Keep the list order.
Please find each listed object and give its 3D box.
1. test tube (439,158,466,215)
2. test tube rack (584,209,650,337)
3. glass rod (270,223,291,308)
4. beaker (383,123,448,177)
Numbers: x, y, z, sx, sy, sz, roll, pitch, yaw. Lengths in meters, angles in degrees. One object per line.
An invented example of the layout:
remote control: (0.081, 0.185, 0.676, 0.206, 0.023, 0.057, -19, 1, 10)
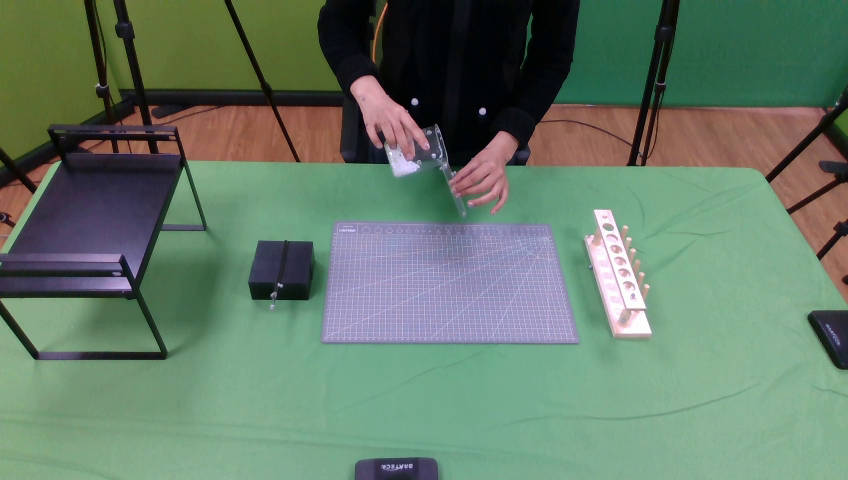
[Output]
test tube: (0.056, -0.098, 1.151, 0.017, 0.151, 0.017, -11, 49, 13)
test tube rack: (0.365, 0.056, 1.129, 0.067, 0.085, 0.240, 1, 46, -4)
glass rod: (-0.255, 0.041, 1.082, 0.008, 0.008, 0.198, 2, 46, -2)
beaker: (-0.016, -0.154, 1.065, 0.100, 0.084, 0.073, -17, 52, -2)
